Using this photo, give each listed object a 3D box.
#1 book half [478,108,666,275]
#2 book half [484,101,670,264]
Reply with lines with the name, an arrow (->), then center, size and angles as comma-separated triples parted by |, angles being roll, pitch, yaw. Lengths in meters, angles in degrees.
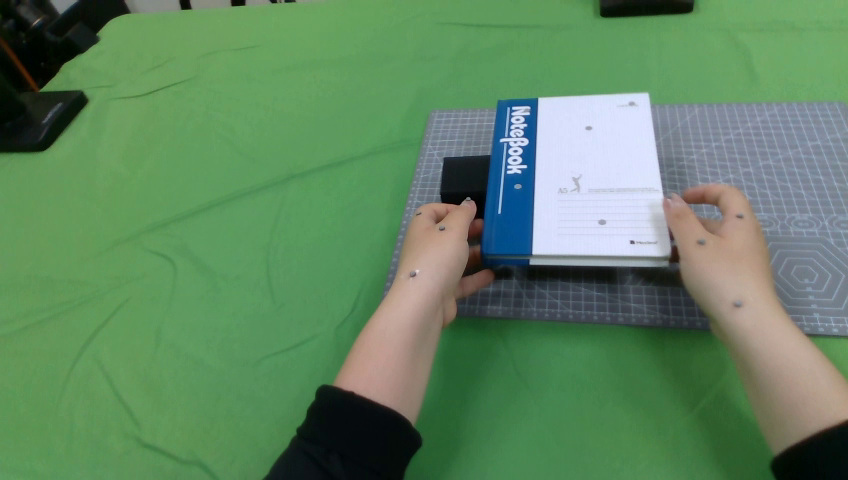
book half -> 0.131, -0.054, 0.547 | 0.148, 0.016, 0.208 | 1, 48, 12
book half -> 0.133, -0.059, 0.542 | 0.143, 0.007, 0.208 | 1, 47, 12
